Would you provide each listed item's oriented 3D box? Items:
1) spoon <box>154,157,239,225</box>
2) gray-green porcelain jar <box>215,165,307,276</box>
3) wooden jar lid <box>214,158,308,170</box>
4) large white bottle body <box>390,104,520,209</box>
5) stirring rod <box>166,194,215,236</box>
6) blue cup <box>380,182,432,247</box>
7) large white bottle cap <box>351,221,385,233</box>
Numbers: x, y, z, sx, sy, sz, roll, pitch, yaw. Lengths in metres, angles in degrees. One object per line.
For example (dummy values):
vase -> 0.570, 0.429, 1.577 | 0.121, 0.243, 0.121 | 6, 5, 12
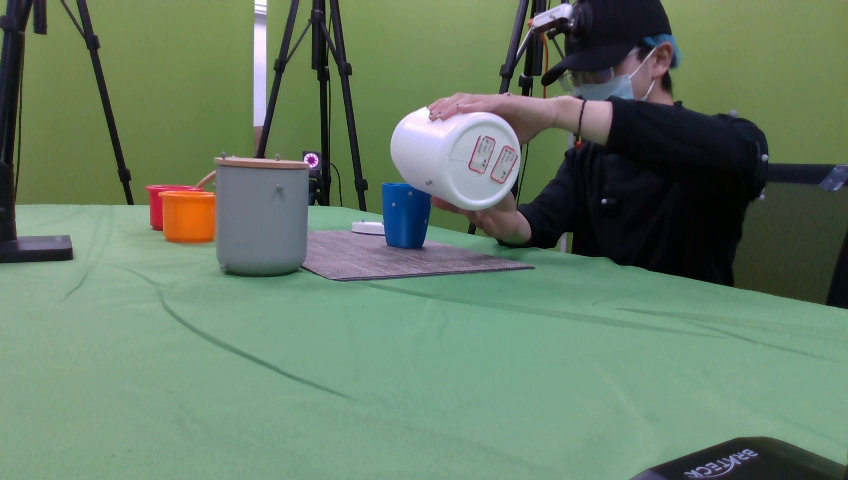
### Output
spoon -> -0.411, -0.092, 1.105 | 0.041, 0.022, 0.194 | 13, 56, 51
gray-green porcelain jar -> -0.195, -0.024, 0.726 | 0.106, 0.126, 0.106 | 3, 7, 0
wooden jar lid -> -0.193, -0.085, 0.719 | 0.108, 0.020, 0.108 | 2, 9, 0
large white bottle body -> 0.036, -0.125, 0.865 | 0.131, 0.130, 0.183 | -2, 16, -28
stirring rod -> -0.341, -0.066, 0.967 | 0.176, 0.006, 0.014 | -42, 23, -9
blue cup -> -0.028, -0.042, 0.980 | 0.093, 0.100, 0.092 | 2, 9, 0
large white bottle cap -> -0.082, -0.025, 1.162 | 0.115, 0.018, 0.115 | 3, 4, 0
